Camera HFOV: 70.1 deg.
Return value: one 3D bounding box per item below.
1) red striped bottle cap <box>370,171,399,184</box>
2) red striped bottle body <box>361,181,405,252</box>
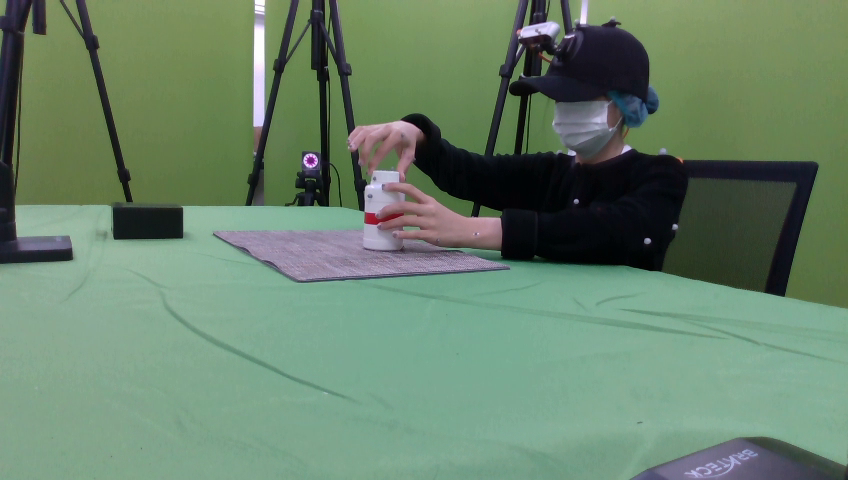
[{"bbox_3d":[-0.060,-0.096,0.925,0.044,0.017,0.044,5,4,0],"label":"red striped bottle cap"},{"bbox_3d":[-0.063,-0.044,0.933,0.063,0.119,0.063,4,7,0],"label":"red striped bottle body"}]
